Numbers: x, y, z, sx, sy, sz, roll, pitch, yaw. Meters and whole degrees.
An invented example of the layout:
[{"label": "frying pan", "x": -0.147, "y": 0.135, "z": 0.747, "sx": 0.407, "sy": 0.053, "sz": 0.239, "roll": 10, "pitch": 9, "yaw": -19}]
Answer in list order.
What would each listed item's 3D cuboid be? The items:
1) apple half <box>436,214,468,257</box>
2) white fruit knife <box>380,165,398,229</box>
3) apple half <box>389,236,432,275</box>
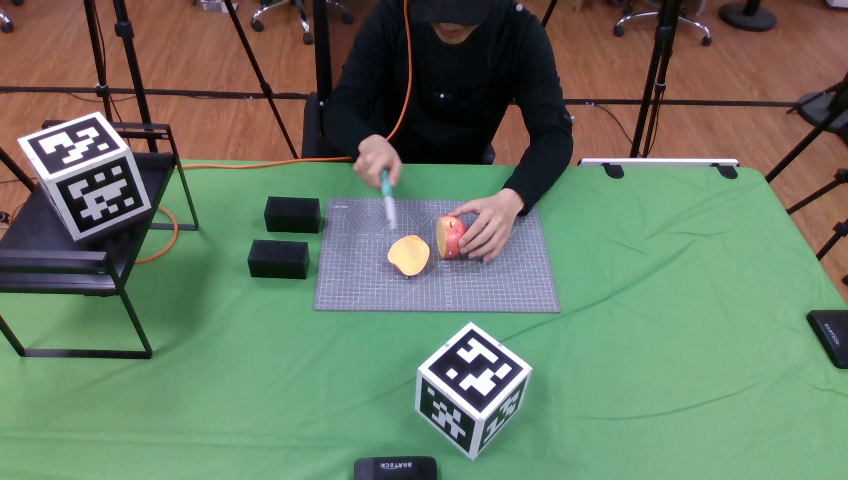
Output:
[{"label": "apple half", "x": 0.057, "y": -0.007, "z": 1.163, "sx": 0.053, "sy": 0.075, "sz": 0.080, "roll": -4, "pitch": 43, "yaw": -15}, {"label": "white fruit knife", "x": -0.064, "y": -0.084, "z": 1.124, "sx": 0.016, "sy": 0.027, "sz": 0.206, "roll": -38, "pitch": 35, "yaw": 19}, {"label": "apple half", "x": -0.024, "y": 0.034, "z": 1.149, "sx": 0.081, "sy": 0.033, "sz": 0.081, "roll": 4, "pitch": 61, "yaw": -7}]
